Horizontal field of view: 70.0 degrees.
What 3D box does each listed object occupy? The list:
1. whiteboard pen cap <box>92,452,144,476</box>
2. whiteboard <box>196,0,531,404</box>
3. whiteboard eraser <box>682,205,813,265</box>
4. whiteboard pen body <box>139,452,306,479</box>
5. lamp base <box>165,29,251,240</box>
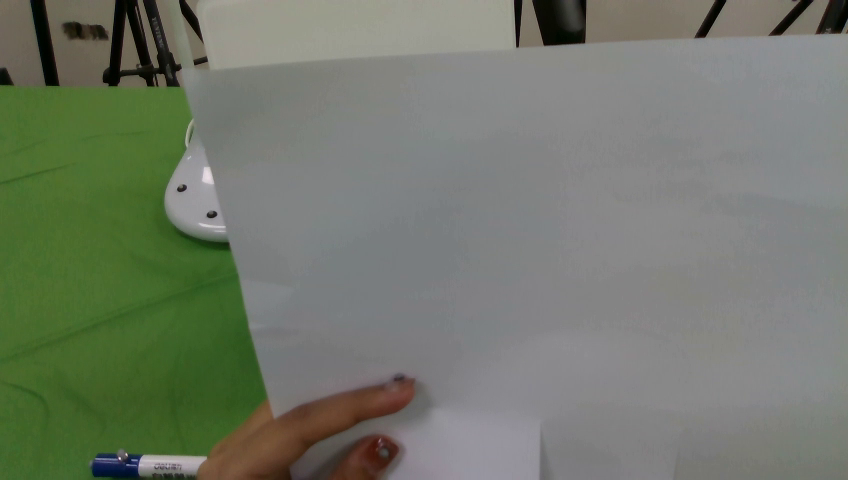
[{"bbox_3d":[-0.215,0.159,0.430,0.033,0.018,0.018,1,41,-3],"label":"whiteboard pen cap"},{"bbox_3d":[-0.043,-0.054,0.516,0.218,0.307,0.142,-13,24,-15],"label":"whiteboard"},{"bbox_3d":[0.329,-0.004,0.620,0.113,0.042,0.055,-5,42,-7],"label":"whiteboard eraser"},{"bbox_3d":[-0.156,0.161,0.432,0.141,0.017,0.017,3,41,-2],"label":"whiteboard pen body"},{"bbox_3d":[-0.215,-0.118,0.636,0.177,0.182,0.160,29,48,32],"label":"lamp base"}]
